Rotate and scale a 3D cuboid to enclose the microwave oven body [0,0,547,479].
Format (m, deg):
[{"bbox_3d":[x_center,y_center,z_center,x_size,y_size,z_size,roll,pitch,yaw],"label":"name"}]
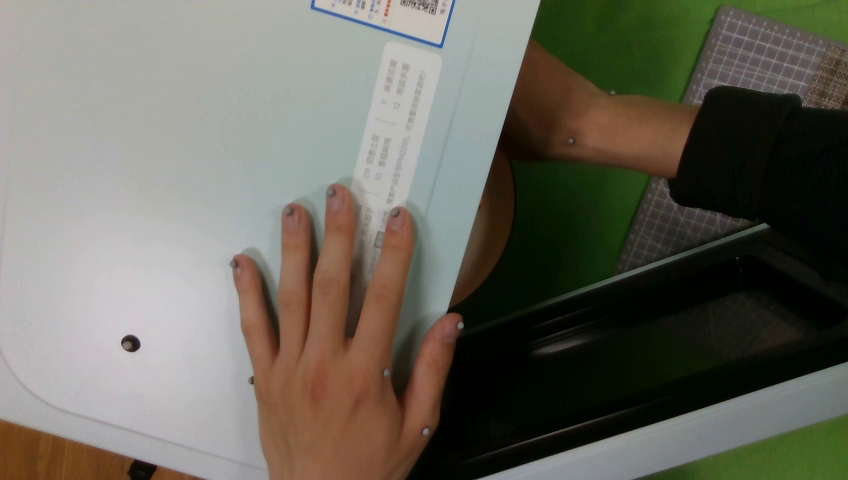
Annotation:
[{"bbox_3d":[-0.089,-0.097,0.427,0.326,0.259,0.443,16,105,0],"label":"microwave oven body"}]

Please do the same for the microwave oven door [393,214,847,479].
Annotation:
[{"bbox_3d":[0.151,0.083,0.450,0.355,0.243,0.039,-21,101,9],"label":"microwave oven door"}]

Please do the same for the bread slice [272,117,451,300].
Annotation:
[{"bbox_3d":[-0.059,-0.029,0.484,0.105,0.019,0.132,-38,97,10],"label":"bread slice"}]

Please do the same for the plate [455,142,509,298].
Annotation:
[{"bbox_3d":[-0.038,-0.038,0.482,0.207,0.039,0.208,1,104,3],"label":"plate"}]

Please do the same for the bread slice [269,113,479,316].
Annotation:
[{"bbox_3d":[-0.044,-0.023,0.426,0.134,0.018,0.107,33,108,5],"label":"bread slice"}]

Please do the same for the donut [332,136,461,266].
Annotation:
[{"bbox_3d":[-0.021,-0.029,0.460,0.099,0.048,0.099,0,100,-1],"label":"donut"}]
